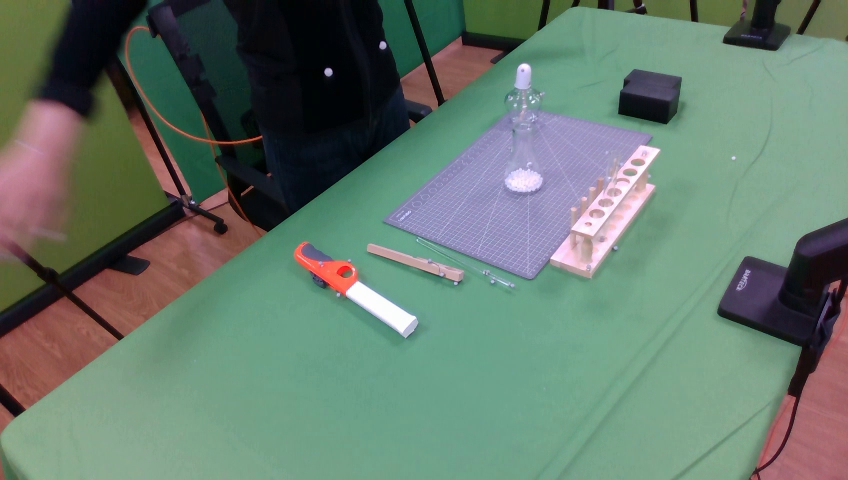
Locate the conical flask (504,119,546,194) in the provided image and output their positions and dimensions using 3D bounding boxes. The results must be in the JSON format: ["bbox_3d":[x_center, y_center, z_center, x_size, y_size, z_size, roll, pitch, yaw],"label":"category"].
[{"bbox_3d":[0.173,-0.146,1.041,0.075,0.122,0.075,-6,40,5],"label":"conical flask"}]

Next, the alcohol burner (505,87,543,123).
[{"bbox_3d":[0.202,-0.298,1.222,0.078,0.119,0.077,-4,40,4],"label":"alcohol burner"}]

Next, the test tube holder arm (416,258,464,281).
[{"bbox_3d":[0.022,0.045,0.931,0.087,0.015,0.010,16,10,27],"label":"test tube holder arm"}]

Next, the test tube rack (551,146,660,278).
[{"bbox_3d":[0.286,-0.053,0.943,0.066,0.085,0.243,21,49,32],"label":"test tube rack"}]

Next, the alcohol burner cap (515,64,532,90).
[{"bbox_3d":[0.199,-0.325,1.198,0.034,0.048,0.033,0,45,1],"label":"alcohol burner cap"}]

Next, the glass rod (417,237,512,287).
[{"bbox_3d":[0.059,0.032,0.945,0.198,0.008,0.008,26,52,38],"label":"glass rod"}]

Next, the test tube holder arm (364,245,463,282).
[{"bbox_3d":[-0.020,0.034,0.947,0.177,0.015,0.013,16,10,26],"label":"test tube holder arm"}]

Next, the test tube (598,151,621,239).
[{"bbox_3d":[0.269,-0.062,0.880,0.017,0.151,0.017,-3,39,3],"label":"test tube"}]

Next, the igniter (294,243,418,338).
[{"bbox_3d":[-0.114,0.070,0.919,0.274,0.025,0.057,29,63,37],"label":"igniter"}]
